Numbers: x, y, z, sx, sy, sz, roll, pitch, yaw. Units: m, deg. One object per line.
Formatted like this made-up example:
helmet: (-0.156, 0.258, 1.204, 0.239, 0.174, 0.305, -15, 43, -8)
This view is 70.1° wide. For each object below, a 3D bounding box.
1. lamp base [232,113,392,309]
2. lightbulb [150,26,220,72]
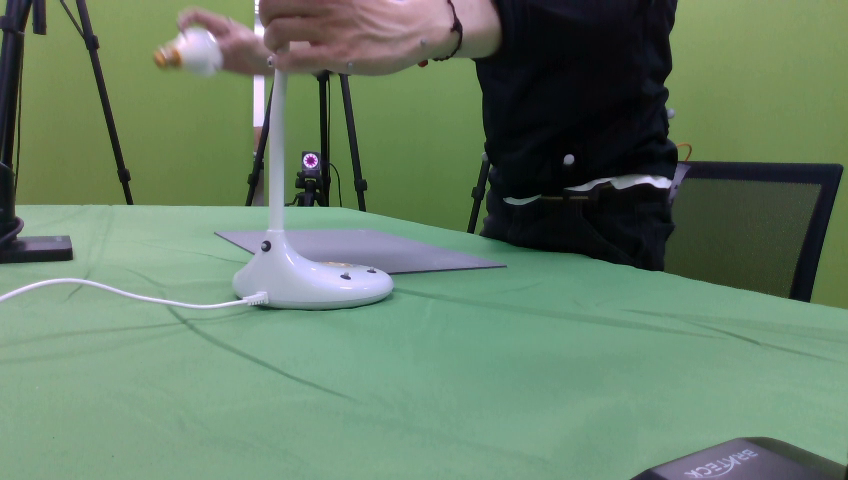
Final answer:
lamp base: (-0.114, -0.032, 0.593, 0.160, 0.180, 0.179, 4, 10, 18)
lightbulb: (-0.322, -0.252, 0.810, 0.059, 0.059, 0.108, 6, 25, 23)
